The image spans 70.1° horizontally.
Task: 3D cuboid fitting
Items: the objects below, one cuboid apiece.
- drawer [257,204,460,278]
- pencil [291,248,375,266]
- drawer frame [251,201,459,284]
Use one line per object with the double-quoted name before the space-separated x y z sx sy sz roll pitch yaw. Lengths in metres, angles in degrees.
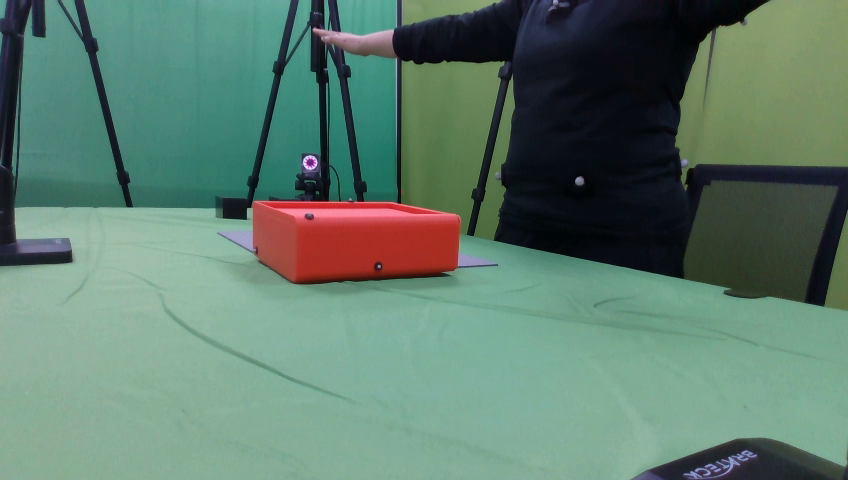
"drawer" -0.091 -0.004 0.793 0.213 0.073 0.193 -3 10 -29
"pencil" -0.112 0.020 0.793 0.012 0.012 0.195 6 6 24
"drawer frame" -0.095 -0.005 0.788 0.215 0.082 0.200 -3 10 -30
